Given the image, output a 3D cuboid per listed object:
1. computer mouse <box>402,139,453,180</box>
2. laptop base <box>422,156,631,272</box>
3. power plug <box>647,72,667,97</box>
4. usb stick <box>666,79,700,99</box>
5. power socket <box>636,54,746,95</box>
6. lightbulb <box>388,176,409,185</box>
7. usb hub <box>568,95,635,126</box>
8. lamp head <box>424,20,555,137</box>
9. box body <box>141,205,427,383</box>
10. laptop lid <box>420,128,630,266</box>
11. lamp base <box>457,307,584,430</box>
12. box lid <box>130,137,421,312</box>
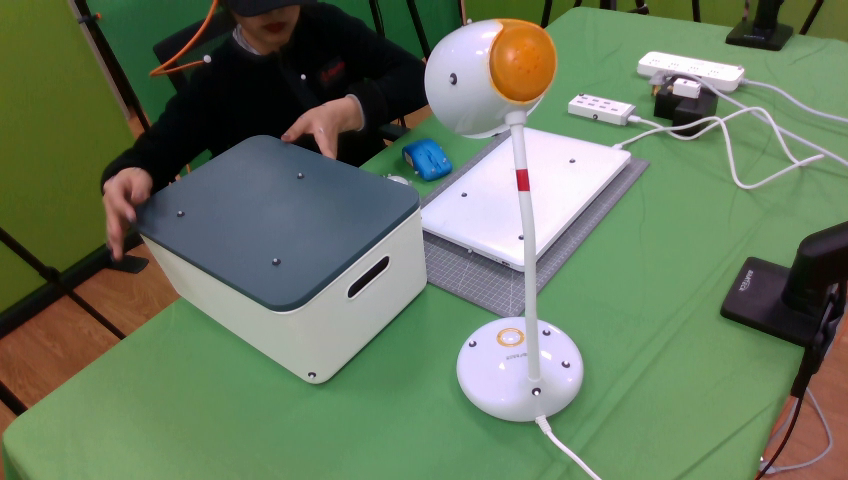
[{"bbox_3d":[0.005,-0.159,1.165,0.063,0.041,0.116,-21,45,-17],"label":"computer mouse"},{"bbox_3d":[0.176,-0.084,1.055,0.233,0.023,0.355,21,48,36],"label":"laptop base"},{"bbox_3d":[0.493,-0.321,1.261,0.073,0.052,0.035,1,20,-41],"label":"power plug"},{"bbox_3d":[0.492,-0.288,1.152,0.058,0.027,0.021,20,50,34],"label":"usb stick"},{"bbox_3d":[0.564,-0.357,1.293,0.225,0.033,0.072,24,51,33],"label":"power socket"},{"bbox_3d":[-0.066,-0.086,1.083,0.060,0.060,0.107,-38,31,-30],"label":"lightbulb"},{"bbox_3d":[0.360,-0.263,1.228,0.124,0.025,0.049,24,49,34],"label":"usb hub"},{"bbox_3d":[0.069,-0.153,0.572,0.113,0.112,0.122,-22,16,-14],"label":"lamp head"},{"bbox_3d":[-0.201,0.019,0.896,0.361,0.161,0.255,23,50,33],"label":"box body"},{"bbox_3d":[0.172,-0.093,1.049,0.239,0.013,0.358,24,50,36],"label":"laptop lid"},{"bbox_3d":[0.115,0.108,0.713,0.161,0.181,0.178,-17,43,-8],"label":"lamp base"},{"bbox_3d":[-0.212,-0.043,0.845,0.368,0.015,0.264,22,49,33],"label":"box lid"}]
